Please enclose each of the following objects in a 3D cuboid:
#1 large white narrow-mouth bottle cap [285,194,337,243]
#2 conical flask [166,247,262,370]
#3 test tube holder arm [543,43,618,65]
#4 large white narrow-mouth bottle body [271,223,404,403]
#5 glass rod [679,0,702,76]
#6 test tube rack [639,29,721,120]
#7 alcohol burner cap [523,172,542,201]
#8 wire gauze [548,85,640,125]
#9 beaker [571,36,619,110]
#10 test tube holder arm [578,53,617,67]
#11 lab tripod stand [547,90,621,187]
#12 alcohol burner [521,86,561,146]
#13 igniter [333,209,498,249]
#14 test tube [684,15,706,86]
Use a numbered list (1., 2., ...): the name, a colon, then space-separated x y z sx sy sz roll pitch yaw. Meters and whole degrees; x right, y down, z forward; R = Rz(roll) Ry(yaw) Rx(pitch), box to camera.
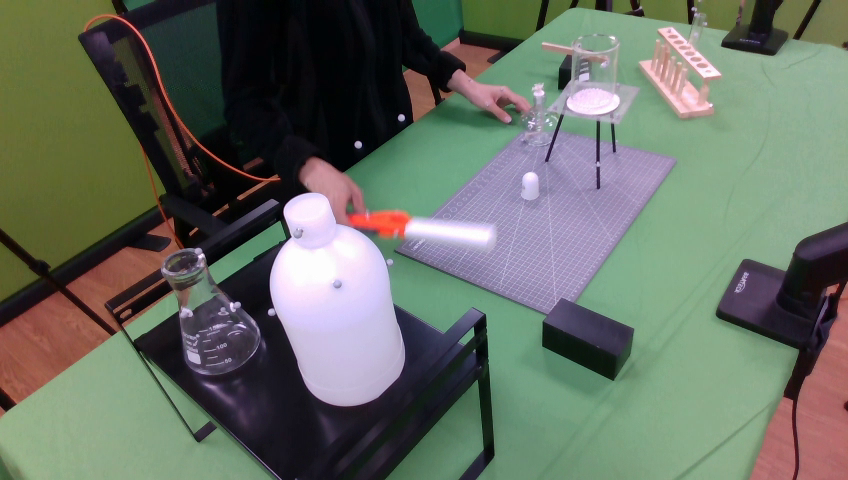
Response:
1. large white narrow-mouth bottle cap: -0.087 -0.017 0.467 0.038 0.024 0.037 -5 40 4
2. conical flask: -0.209 0.064 0.584 0.075 0.122 0.075 -5 40 4
3. test tube holder arm: 0.345 -0.413 1.340 0.177 0.015 0.013 25 50 31
4. large white narrow-mouth bottle body: -0.077 0.048 0.525 0.102 0.195 0.101 -5 40 5
5. glass rod: 0.543 -0.417 1.233 0.008 0.200 0.008 1 39 0
6. test tube rack: 0.527 -0.351 1.262 0.067 0.085 0.241 -8 40 1
7. alcohol burner cap: 0.186 -0.096 1.047 0.034 0.048 0.033 -6 37 5
8. wire gauze: 0.286 -0.233 1.020 0.124 0.011 0.122 15 43 30
9. beaker: 0.281 -0.273 0.992 0.084 0.101 0.073 -24 42 -16
10. test tube holder arm: 0.376 -0.393 1.314 0.087 0.015 0.010 26 50 32
11. lab tripod stand: 0.289 -0.184 1.062 0.148 0.132 0.147 -6 41 6
12. alcohol burner: 0.223 -0.241 1.155 0.078 0.119 0.077 -5 42 5
13. igniter: -0.025 -0.018 0.843 0.274 0.025 0.057 8 35 33
14. test tube: 0.540 -0.378 1.215 0.017 0.151 0.017 -2 44 3
